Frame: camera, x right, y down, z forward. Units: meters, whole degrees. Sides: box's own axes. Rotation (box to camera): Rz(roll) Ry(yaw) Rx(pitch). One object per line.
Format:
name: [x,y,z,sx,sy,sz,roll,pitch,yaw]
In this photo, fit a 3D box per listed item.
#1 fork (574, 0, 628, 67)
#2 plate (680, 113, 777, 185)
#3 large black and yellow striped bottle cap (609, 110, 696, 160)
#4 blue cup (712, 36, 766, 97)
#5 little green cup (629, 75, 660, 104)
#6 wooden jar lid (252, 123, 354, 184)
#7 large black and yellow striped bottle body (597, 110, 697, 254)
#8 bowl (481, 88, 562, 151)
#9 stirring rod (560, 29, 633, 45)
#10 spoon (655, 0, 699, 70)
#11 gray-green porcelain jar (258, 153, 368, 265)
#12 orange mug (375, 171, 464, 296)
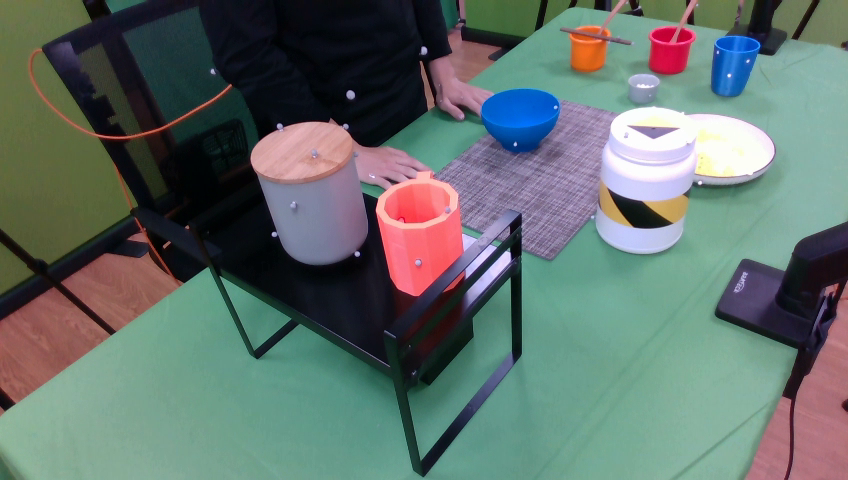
fork: [0.413,-0.481,1.377,0.207,0.019,0.028,-56,43,12]
plate: [0.506,-0.158,1.073,0.209,0.038,0.208,-5,40,4]
large black and yellow striped bottle cap: [0.319,-0.150,0.849,0.115,0.019,0.114,-4,39,3]
blue cup: [0.627,-0.350,1.227,0.092,0.100,0.092,-4,39,4]
little green cup: [0.457,-0.314,1.260,0.061,0.039,0.061,-4,40,4]
wooden jar lid: [-0.129,-0.090,0.652,0.108,0.021,0.108,-3,41,3]
large black and yellow striped bottle body: [0.331,-0.086,0.904,0.131,0.185,0.130,-5,41,4]
bowl: [0.187,-0.223,1.161,0.151,0.077,0.150,-4,40,4]
stirring rod: [0.381,-0.452,1.345,0.174,0.006,0.014,25,49,33]
spoon: [0.567,-0.463,1.337,0.041,0.022,0.193,30,96,38]
gray-green porcelain jar: [-0.122,-0.043,0.691,0.106,0.127,0.105,-4,40,4]
orange mug: [-0.001,-0.016,0.662,0.083,0.101,0.125,-2,45,8]
